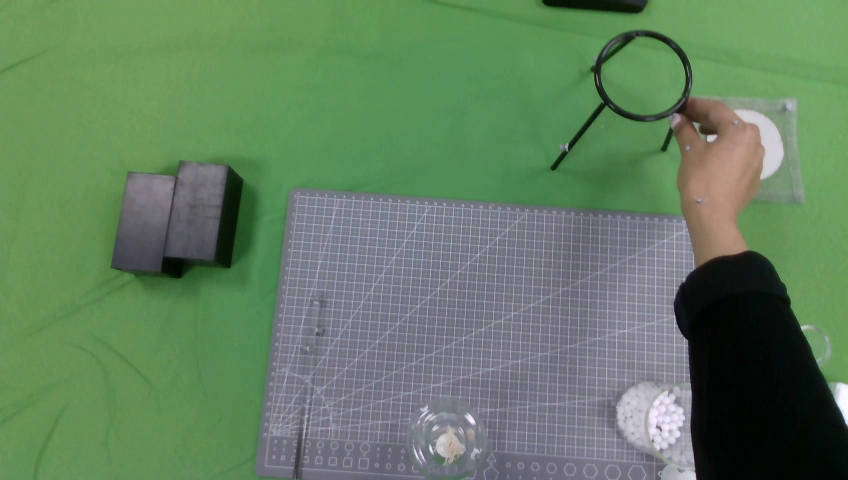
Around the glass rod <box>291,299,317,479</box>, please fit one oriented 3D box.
[{"bbox_3d":[-0.123,0.160,0.619,0.008,0.008,0.199,5,82,0],"label":"glass rod"}]

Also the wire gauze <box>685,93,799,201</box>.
[{"bbox_3d":[0.356,-0.105,0.674,0.125,0.011,0.121,3,80,-2],"label":"wire gauze"}]

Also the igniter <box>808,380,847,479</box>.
[{"bbox_3d":[0.387,0.275,0.596,0.057,0.025,0.275,19,80,-7],"label":"igniter"}]

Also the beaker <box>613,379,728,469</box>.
[{"bbox_3d":[0.229,0.168,0.575,0.084,0.100,0.073,-19,80,-4],"label":"beaker"}]

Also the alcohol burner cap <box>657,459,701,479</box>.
[{"bbox_3d":[0.253,0.235,0.592,0.034,0.048,0.033,0,79,0],"label":"alcohol burner cap"}]

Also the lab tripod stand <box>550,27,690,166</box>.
[{"bbox_3d":[0.197,-0.138,0.616,0.148,0.132,0.148,0,81,0],"label":"lab tripod stand"}]

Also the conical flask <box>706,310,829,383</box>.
[{"bbox_3d":[0.331,0.100,0.579,0.075,0.122,0.075,0,79,0],"label":"conical flask"}]

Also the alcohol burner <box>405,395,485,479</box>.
[{"bbox_3d":[0.019,0.185,0.563,0.078,0.119,0.077,0,78,2],"label":"alcohol burner"}]
